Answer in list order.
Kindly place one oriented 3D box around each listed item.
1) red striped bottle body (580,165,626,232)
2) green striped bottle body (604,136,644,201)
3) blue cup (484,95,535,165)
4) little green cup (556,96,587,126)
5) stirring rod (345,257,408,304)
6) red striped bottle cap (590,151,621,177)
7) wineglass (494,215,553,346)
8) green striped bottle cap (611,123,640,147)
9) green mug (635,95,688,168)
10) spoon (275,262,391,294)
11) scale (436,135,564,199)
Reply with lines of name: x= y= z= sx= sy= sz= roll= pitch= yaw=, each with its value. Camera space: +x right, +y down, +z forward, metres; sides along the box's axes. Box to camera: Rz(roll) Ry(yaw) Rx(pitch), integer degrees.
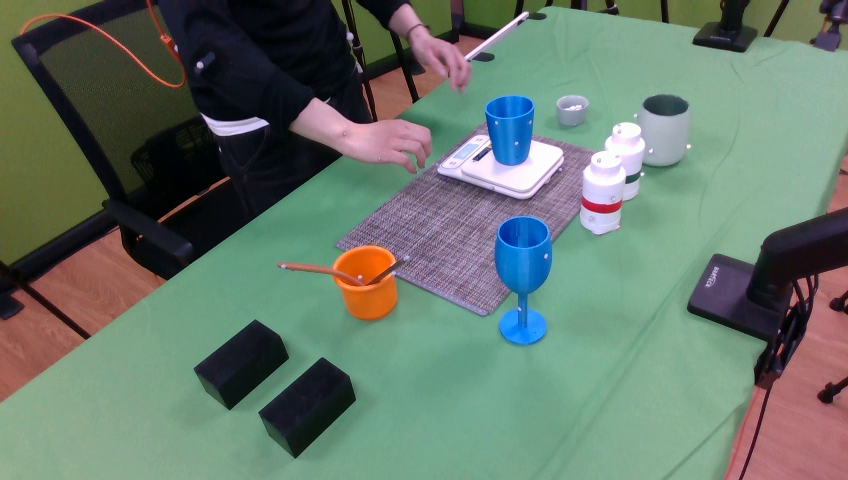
red striped bottle body: x=0.278 y=-0.075 z=0.942 sx=0.063 sy=0.120 sz=0.062 roll=-4 pitch=41 yaw=4
green striped bottle body: x=0.326 y=-0.128 z=0.997 sx=0.063 sy=0.120 sz=0.063 roll=-4 pitch=41 yaw=4
blue cup: x=0.150 y=-0.188 z=1.052 sx=0.092 sy=0.100 sz=0.092 roll=-5 pitch=39 yaw=5
little green cup: x=0.295 y=-0.258 z=1.214 sx=0.061 sy=0.039 sz=0.061 roll=-4 pitch=41 yaw=4
stirring rod: x=-0.067 y=0.057 z=0.815 sx=0.014 sy=0.175 sz=0.006 roll=-25 pitch=82 yaw=-38
red striped bottle cap: x=0.272 y=-0.115 z=0.908 sx=0.044 sy=0.018 sz=0.044 roll=-4 pitch=44 yaw=4
wineglass: x=0.127 y=0.055 z=0.770 sx=0.074 sy=0.173 sz=0.073 roll=-4 pitch=40 yaw=4
green striped bottle cap: x=0.322 y=-0.168 z=0.963 sx=0.044 sy=0.020 sz=0.044 roll=-3 pitch=41 yaw=3
green mug: x=0.421 y=-0.201 z=1.081 sx=0.092 sy=0.105 sz=0.125 roll=5 pitch=42 yaw=15
spoon: x=-0.120 y=0.050 z=0.830 sx=0.041 sy=0.195 sz=0.021 roll=30 pitch=96 yaw=45
scale: x=0.137 y=-0.142 z=1.101 sx=0.199 sy=0.032 sz=0.149 roll=22 pitch=48 yaw=30
